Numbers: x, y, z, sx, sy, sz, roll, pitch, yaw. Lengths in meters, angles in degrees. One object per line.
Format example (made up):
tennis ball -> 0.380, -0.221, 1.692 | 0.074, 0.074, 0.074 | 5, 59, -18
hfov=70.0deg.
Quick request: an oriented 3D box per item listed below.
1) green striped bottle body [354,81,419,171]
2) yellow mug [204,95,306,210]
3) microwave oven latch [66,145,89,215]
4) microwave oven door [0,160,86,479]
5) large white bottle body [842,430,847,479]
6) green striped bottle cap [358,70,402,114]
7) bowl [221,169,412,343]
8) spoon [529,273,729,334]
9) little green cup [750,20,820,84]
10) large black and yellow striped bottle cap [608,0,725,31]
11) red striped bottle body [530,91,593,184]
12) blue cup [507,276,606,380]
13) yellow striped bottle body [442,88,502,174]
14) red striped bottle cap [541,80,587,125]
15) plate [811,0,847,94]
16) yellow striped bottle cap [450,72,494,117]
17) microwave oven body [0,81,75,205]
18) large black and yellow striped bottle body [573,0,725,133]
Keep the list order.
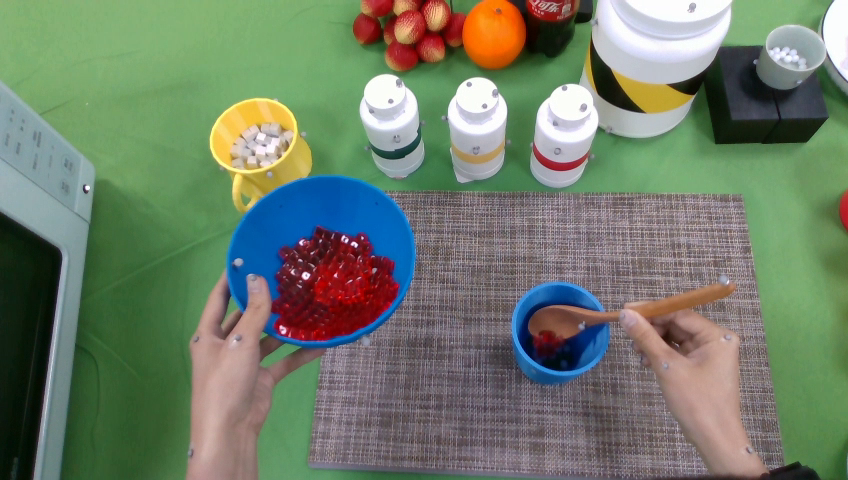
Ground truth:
green striped bottle body -> -0.040, -0.132, 0.672 | 0.063, 0.120, 0.062 | -2, 66, 4
yellow mug -> -0.198, -0.095, 0.699 | 0.100, 0.064, 0.130 | 10, 69, 8
microwave oven latch -> -0.409, -0.068, 0.699 | 0.030, 0.030, 0.078 | -6, 68, 2
microwave oven door -> -0.394, 0.093, 0.521 | 0.039, 0.245, 0.353 | -8, 67, 2
large white bottle body -> 0.439, 0.175, 0.468 | 0.130, 0.186, 0.129 | -2, 66, 4
green striped bottle cap -> -0.046, -0.152, 0.625 | 0.044, 0.020, 0.044 | -1, 66, 3
bowl -> -0.085, 0.024, 0.514 | 0.151, 0.077, 0.150 | 1, 65, -1
spoon -> 0.161, 0.056, 0.510 | 0.042, 0.193, 0.021 | 49, 53, -17
little green cup -> 0.388, -0.201, 0.656 | 0.061, 0.039, 0.061 | -1, 66, 3
large black and yellow striped bottle cap -> 0.230, -0.248, 0.573 | 0.115, 0.019, 0.114 | -2, 66, 5
red striped bottle body -> 0.146, -0.116, 0.651 | 0.063, 0.121, 0.062 | -3, 64, 8
blue cup -> 0.118, 0.091, 0.572 | 0.092, 0.101, 0.092 | -1, 66, 3
yellow striped bottle body -> 0.053, -0.127, 0.662 | 0.063, 0.121, 0.062 | -2, 67, 5
red striped bottle cap -> 0.140, -0.137, 0.603 | 0.044, 0.018, 0.044 | 0, 66, 1
plate -> 0.559, -0.227, 0.708 | 0.209, 0.038, 0.207 | -2, 68, 4
yellow striped bottle cap -> 0.049, -0.148, 0.615 | 0.044, 0.019, 0.044 | -1, 69, 4
microwave oven body -> -0.543, 0.076, 0.545 | 0.326, 0.262, 0.438 | -8, 67, 1
large black and yellow striped bottle body -> 0.237, -0.217, 0.650 | 0.131, 0.185, 0.130 | -2, 67, 4
